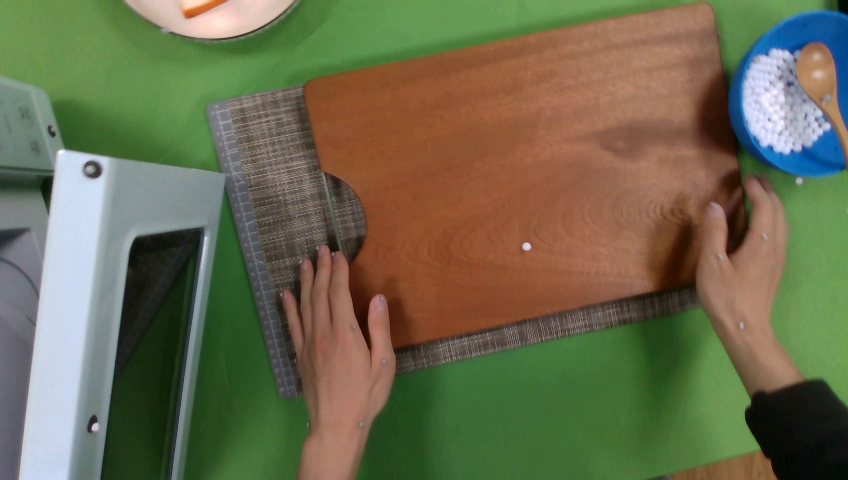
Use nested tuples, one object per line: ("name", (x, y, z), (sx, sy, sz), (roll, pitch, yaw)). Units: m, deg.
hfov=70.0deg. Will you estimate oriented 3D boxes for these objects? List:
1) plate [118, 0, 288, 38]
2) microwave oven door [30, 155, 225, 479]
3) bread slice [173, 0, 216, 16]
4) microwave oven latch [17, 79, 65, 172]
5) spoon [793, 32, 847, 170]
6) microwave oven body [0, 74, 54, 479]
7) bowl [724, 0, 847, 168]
("plate", (-0.203, -0.289, 0.555), (0.208, 0.039, 0.208), (0, 96, -3))
("microwave oven door", (-0.226, 0.114, 0.473), (0.039, 0.243, 0.356), (9, 95, -3))
("bread slice", (-0.210, -0.288, 0.555), (0.105, 0.019, 0.132), (-27, 97, -2))
("microwave oven latch", (-0.353, -0.102, 0.546), (0.030, 0.029, 0.079), (-14, 97, -3))
("spoon", (0.381, -0.101, 0.557), (0.042, 0.022, 0.192), (-8, 76, -12))
("microwave oven body", (-0.448, 0.114, 0.464), (0.326, 0.259, 0.442), (-15, 97, -3))
("bowl", (0.350, -0.143, 0.581), (0.151, 0.076, 0.151), (0, 96, -3))
